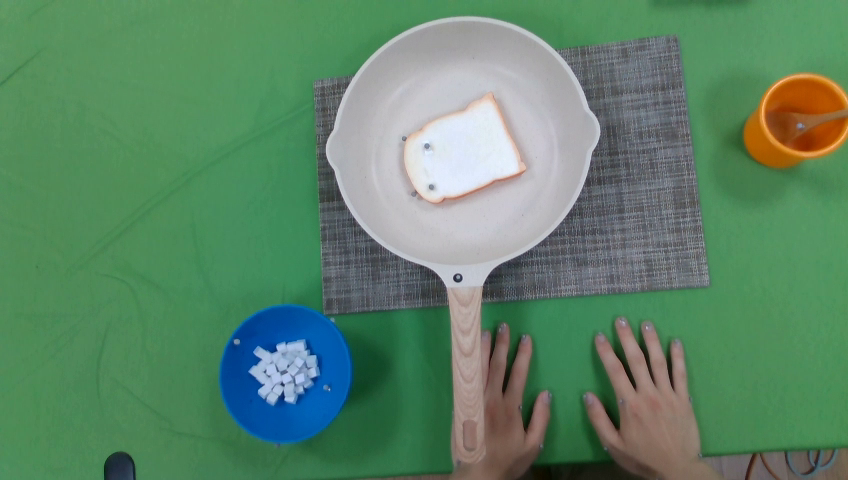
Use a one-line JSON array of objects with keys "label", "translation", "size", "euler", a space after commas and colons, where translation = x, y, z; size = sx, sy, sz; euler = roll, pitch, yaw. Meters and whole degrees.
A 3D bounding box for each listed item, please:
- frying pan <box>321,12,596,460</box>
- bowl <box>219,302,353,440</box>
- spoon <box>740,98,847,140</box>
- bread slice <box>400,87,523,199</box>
[{"label": "frying pan", "translation": [0.040, -0.012, 0.675], "size": [0.306, 0.103, 0.485], "euler": [-3, 74, 9]}, {"label": "bowl", "translation": [-0.148, 0.147, 0.699], "size": [0.151, 0.077, 0.151], "euler": [-1, 83, 8]}, {"label": "spoon", "translation": [0.425, -0.137, 0.618], "size": [0.022, 0.193, 0.041], "euler": [8, 82, -36]}, {"label": "bread slice", "translation": [0.039, -0.107, 0.726], "size": [0.134, 0.018, 0.106], "euler": [-26, 81, 3]}]
